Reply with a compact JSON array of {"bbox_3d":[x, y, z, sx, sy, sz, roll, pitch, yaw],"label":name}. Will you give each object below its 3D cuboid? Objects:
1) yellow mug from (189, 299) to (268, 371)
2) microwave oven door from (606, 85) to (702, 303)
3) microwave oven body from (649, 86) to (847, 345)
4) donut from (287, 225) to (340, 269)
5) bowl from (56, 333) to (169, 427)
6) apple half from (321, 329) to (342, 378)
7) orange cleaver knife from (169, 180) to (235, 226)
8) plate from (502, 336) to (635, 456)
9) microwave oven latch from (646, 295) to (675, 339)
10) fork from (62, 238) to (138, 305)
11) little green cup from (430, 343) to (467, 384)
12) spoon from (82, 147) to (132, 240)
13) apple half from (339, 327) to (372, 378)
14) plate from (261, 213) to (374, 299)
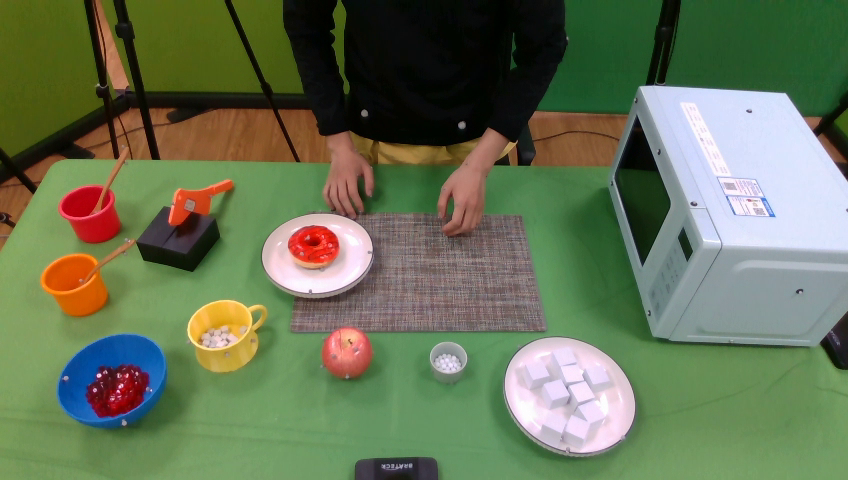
[{"bbox_3d":[-0.316,0.148,1.002,0.131,0.064,0.099,-33,56,-31],"label":"yellow mug"},{"bbox_3d":[0.423,-0.094,1.140,0.039,0.245,0.353,2,46,-1],"label":"microwave oven door"},{"bbox_3d":[0.568,-0.053,1.118,0.326,0.261,0.439,2,45,-1],"label":"microwave oven body"},{"bbox_3d":[-0.207,0.013,1.139,0.099,0.048,0.098,3,45,-3],"label":"donut"},{"bbox_3d":[-0.456,0.223,0.911,0.151,0.077,0.150,3,45,-2],"label":"bowl"},{"bbox_3d":[-0.149,0.186,0.972,0.033,0.081,0.080,-2,46,-12],"label":"apple half"},{"bbox_3d":[-0.436,-0.076,1.199,0.012,0.077,0.211,17,17,9],"label":"orange cleaver knife"},{"bbox_3d":[0.225,0.248,0.963,0.208,0.039,0.206,2,46,-2],"label":"plate"},{"bbox_3d":[0.412,0.134,1.061,0.030,0.029,0.078,4,45,1],"label":"microwave oven latch"},{"bbox_3d":[-0.547,0.053,1.018,0.207,0.019,0.028,-36,41,23],"label":"fork"},{"bbox_3d":[0.039,0.203,0.994,0.061,0.039,0.061,2,46,-2],"label":"little green cup"},{"bbox_3d":[-0.602,-0.089,1.156,0.041,0.022,0.193,27,95,19],"label":"spoon"},{"bbox_3d":[-0.111,0.183,0.980,0.053,0.075,0.080,-2,42,-12],"label":"apple half"},{"bbox_3d":[-0.198,0.032,1.137,0.209,0.038,0.208,2,46,-2],"label":"plate"}]
